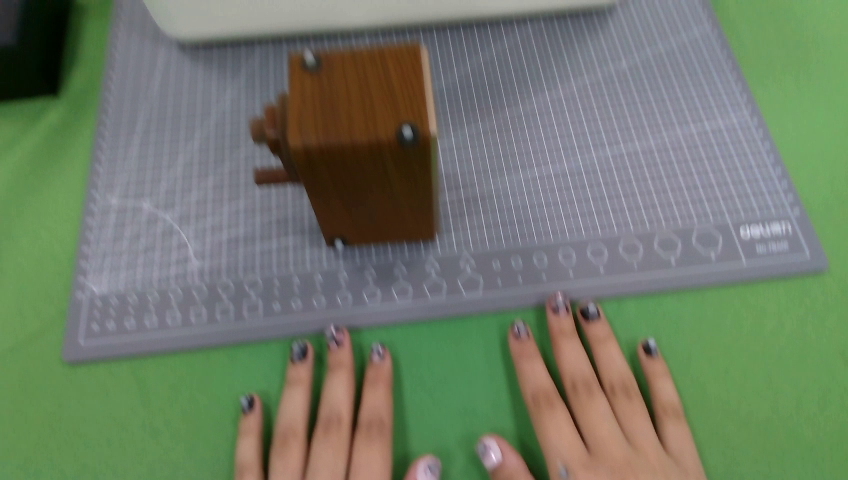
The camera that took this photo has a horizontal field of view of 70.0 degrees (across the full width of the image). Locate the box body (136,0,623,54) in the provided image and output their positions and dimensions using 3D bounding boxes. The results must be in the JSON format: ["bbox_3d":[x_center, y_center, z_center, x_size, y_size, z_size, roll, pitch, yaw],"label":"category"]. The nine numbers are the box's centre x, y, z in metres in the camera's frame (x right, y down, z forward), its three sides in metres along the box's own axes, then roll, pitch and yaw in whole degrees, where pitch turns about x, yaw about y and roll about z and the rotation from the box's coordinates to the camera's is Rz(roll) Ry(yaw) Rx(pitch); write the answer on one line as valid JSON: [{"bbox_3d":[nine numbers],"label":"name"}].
[{"bbox_3d":[-0.033,-0.286,0.436,0.364,0.161,0.251,-6,61,-2],"label":"box body"}]

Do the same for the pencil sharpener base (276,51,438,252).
[{"bbox_3d":[-0.033,-0.043,0.337,0.077,0.108,0.061,-5,62,-1],"label":"pencil sharpener base"}]

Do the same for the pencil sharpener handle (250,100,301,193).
[{"bbox_3d":[-0.084,-0.045,0.325,0.030,0.068,0.035,-5,64,-1],"label":"pencil sharpener handle"}]
